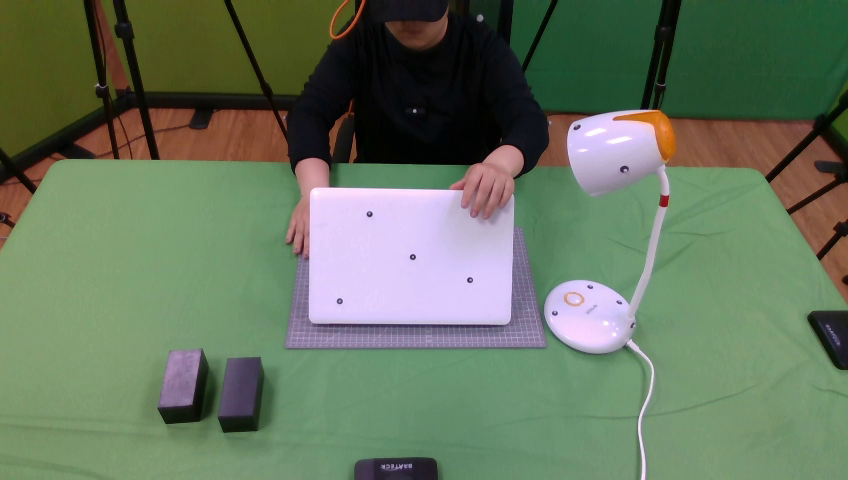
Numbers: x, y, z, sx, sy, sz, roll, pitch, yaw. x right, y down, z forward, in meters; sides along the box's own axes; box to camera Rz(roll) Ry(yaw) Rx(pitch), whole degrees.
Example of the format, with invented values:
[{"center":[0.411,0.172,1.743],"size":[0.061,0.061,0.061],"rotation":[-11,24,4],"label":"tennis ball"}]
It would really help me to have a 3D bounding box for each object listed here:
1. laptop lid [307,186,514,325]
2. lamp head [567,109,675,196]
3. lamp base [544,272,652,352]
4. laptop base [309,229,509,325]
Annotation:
[{"center":[-0.022,0.028,1.039],"size":[0.357,0.241,0.013],"rotation":[2,3,-3],"label":"laptop lid"},{"center":[0.272,-0.123,0.818],"size":[0.122,0.113,0.112],"rotation":[-9,35,37],"label":"lamp head"},{"center":[0.310,0.086,1.029],"size":[0.178,0.181,0.160],"rotation":[32,52,21],"label":"lamp base"},{"center":[-0.028,0.066,1.134],"size":[0.355,0.023,0.234],"rotation":[1,42,-4],"label":"laptop base"}]
